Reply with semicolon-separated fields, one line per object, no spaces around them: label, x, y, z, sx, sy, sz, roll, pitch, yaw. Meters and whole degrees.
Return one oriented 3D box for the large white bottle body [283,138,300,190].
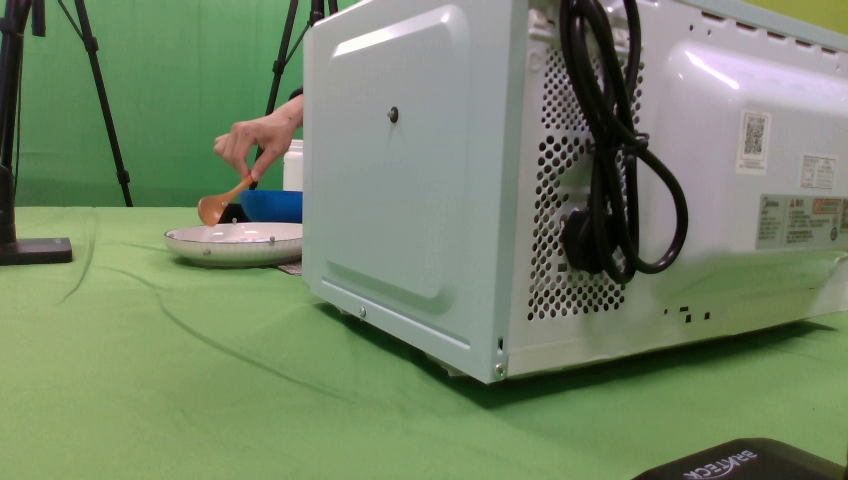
large white bottle body;-0.265;-0.143;1.424;0.131;0.184;0.130;2;7;0

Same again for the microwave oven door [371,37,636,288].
microwave oven door;0.109;-0.080;0.686;0.358;0.243;0.039;-2;9;-33

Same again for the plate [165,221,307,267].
plate;-0.241;0.004;0.829;0.209;0.038;0.209;0;9;0

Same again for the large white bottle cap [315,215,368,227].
large white bottle cap;-0.178;-0.041;1.309;0.115;0.018;0.115;2;6;0

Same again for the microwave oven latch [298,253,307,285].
microwave oven latch;-0.081;0.027;0.582;0.079;0.029;0.030;-1;7;-32

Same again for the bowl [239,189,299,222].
bowl;-0.245;-0.046;1.053;0.151;0.077;0.151;3;7;0

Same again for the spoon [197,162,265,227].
spoon;-0.281;-0.074;0.901;0.021;0.042;0.194;-19;23;27

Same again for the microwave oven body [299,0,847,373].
microwave oven body;0.151;-0.055;0.542;0.444;0.260;0.324;-2;7;-33
